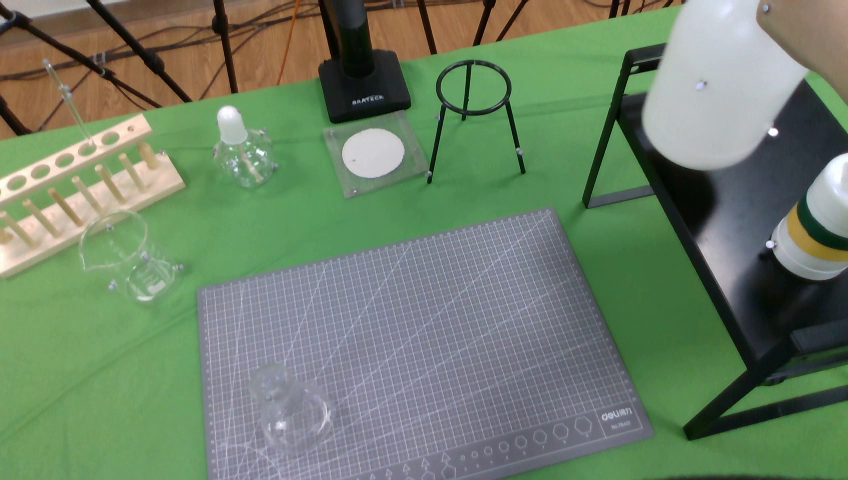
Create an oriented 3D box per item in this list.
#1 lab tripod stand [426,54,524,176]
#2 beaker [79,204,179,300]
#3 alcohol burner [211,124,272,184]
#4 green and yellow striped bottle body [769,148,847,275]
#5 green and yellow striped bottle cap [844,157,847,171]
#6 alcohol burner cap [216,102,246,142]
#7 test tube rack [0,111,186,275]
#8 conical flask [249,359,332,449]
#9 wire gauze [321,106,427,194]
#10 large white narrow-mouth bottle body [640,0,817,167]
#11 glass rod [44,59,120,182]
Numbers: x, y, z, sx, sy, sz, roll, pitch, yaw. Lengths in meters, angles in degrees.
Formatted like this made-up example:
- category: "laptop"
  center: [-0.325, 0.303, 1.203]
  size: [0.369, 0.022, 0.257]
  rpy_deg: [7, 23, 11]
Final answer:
- category: "lab tripod stand"
  center: [0.063, -0.154, 0.766]
  size: [0.148, 0.132, 0.147]
  rpy_deg: [0, 58, 0]
- category: "beaker"
  center: [-0.336, 0.021, 0.696]
  size: [0.073, 0.101, 0.083]
  rpy_deg: [28, 64, 19]
- category: "alcohol burner"
  center: [-0.237, -0.127, 0.773]
  size: [0.078, 0.120, 0.077]
  rpy_deg: [-1, 56, 1]
- category: "green and yellow striped bottle body"
  center: [0.329, -0.026, 0.475]
  size: [0.063, 0.120, 0.062]
  rpy_deg: [-1, 59, 2]
- category: "green and yellow striped bottle cap"
  center: [0.328, -0.054, 0.431]
  size: [0.045, 0.020, 0.045]
  rpy_deg: [-2, 60, 3]
- category: "alcohol burner cap"
  center: [-0.239, -0.148, 0.743]
  size: [0.034, 0.048, 0.033]
  rpy_deg: [4, 56, -5]
- category: "test tube rack"
  center: [-0.438, -0.060, 0.757]
  size: [0.242, 0.086, 0.066]
  rpy_deg: [-31, 63, -16]
- category: "conical flask"
  center: [-0.136, 0.154, 0.591]
  size: [0.075, 0.123, 0.074]
  rpy_deg: [-1, 58, 2]
- category: "wire gauze"
  center: [-0.069, -0.128, 0.828]
  size: [0.121, 0.011, 0.124]
  rpy_deg: [-17, 60, -9]
- category: "large white narrow-mouth bottle body"
  center: [0.231, -0.144, 0.458]
  size: [0.101, 0.196, 0.101]
  rpy_deg: [-3, 65, 7]
- category: "glass rod"
  center: [-0.402, -0.134, 0.722]
  size: [0.008, 0.201, 0.008]
  rpy_deg: [1, 56, -2]
